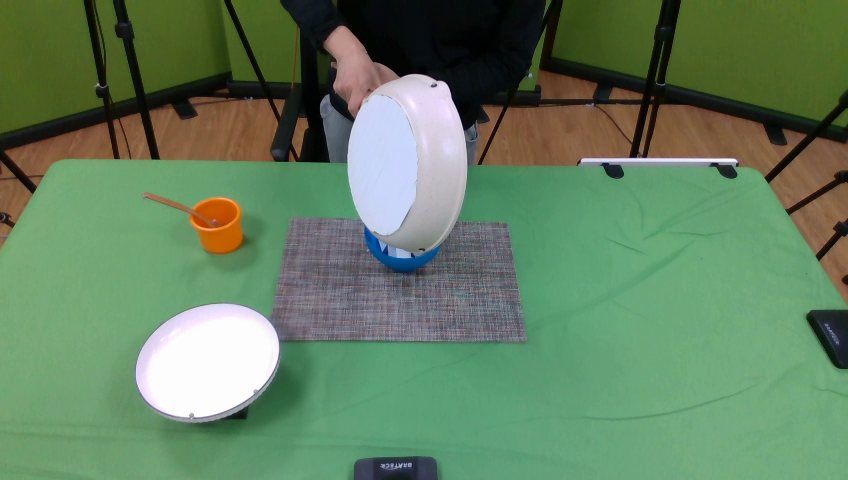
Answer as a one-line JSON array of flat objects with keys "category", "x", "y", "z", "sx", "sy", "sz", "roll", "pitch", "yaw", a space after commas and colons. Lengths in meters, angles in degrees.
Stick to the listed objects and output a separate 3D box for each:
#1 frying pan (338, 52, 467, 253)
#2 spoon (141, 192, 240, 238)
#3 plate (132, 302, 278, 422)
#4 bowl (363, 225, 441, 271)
[{"category": "frying pan", "x": -0.078, "y": -0.192, "z": 1.051, "sx": 0.103, "sy": 0.308, "sz": 0.484, "roll": 2, "pitch": 43, "yaw": -29}, {"category": "spoon", "x": -0.428, "y": -0.048, "z": 1.123, "sx": 0.021, "sy": 0.195, "sz": 0.041, "roll": -39, "pitch": 44, "yaw": 20}, {"category": "plate", "x": -0.325, "y": 0.186, "z": 0.916, "sx": 0.208, "sy": 0.039, "sz": 0.206, "roll": 3, "pitch": 44, "yaw": -2}, {"category": "bowl", "x": -0.041, "y": 0.005, "z": 1.144, "sx": 0.151, "sy": 0.077, "sz": 0.150, "roll": 3, "pitch": 46, "yaw": -2}]
